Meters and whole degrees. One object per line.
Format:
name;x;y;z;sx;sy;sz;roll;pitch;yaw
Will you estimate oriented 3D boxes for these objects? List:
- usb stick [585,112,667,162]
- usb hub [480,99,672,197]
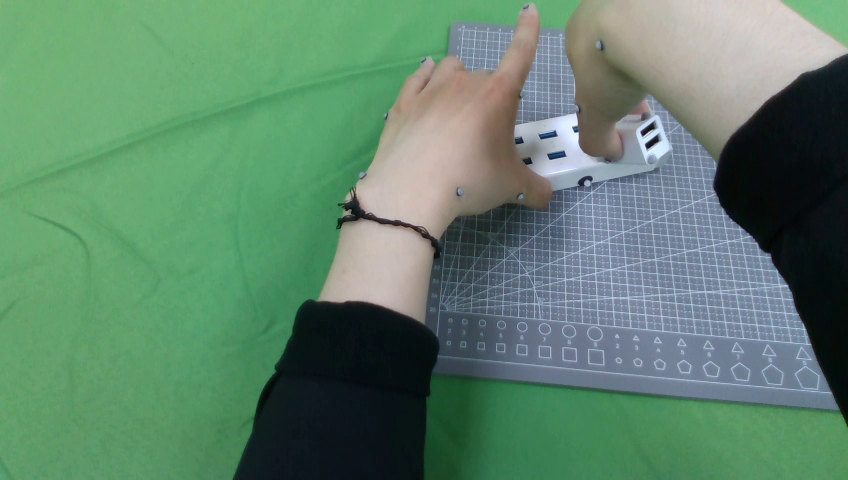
usb stick;0.123;-0.066;0.386;0.021;0.059;0.027;-39;111;-14
usb hub;0.106;-0.067;0.429;0.125;0.025;0.049;-11;63;-9
